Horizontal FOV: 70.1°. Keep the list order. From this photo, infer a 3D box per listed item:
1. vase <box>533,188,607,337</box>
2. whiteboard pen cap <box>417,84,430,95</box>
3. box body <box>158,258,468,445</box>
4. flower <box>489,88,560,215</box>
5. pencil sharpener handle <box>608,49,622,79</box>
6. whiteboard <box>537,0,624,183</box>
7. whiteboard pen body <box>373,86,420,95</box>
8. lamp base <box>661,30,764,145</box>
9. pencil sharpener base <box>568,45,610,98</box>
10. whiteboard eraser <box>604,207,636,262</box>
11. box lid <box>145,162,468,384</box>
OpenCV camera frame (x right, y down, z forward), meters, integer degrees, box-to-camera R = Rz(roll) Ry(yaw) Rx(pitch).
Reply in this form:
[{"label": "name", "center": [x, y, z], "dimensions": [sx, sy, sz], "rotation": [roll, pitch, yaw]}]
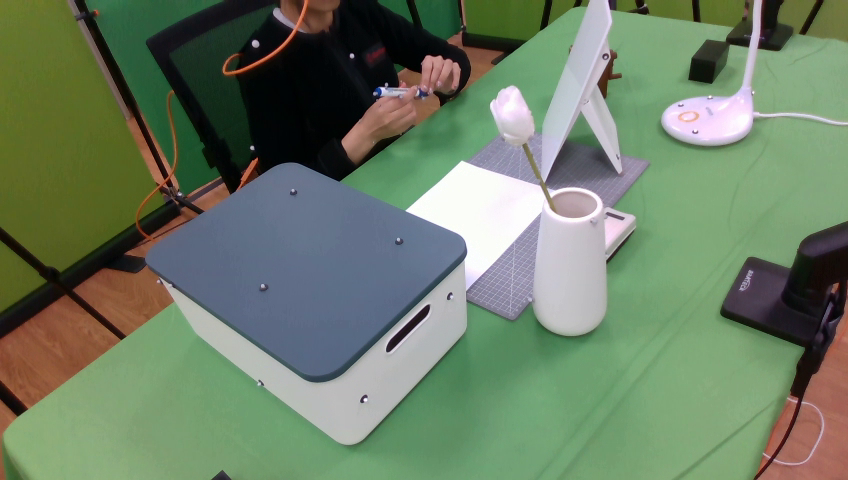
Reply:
[{"label": "vase", "center": [0.187, 0.033, 0.771], "dimensions": [0.098, 0.201, 0.097], "rotation": [-6, 41, 6]}, {"label": "whiteboard pen cap", "center": [-0.005, -0.295, 1.190], "dimensions": [0.033, 0.018, 0.018], "rotation": [-24, 42, -26]}, {"label": "box body", "center": [-0.147, 0.072, 0.816], "dimensions": [0.361, 0.161, 0.255], "rotation": [24, 50, 33]}, {"label": "flower", "center": [0.158, -0.027, 0.720], "dimensions": [0.038, 0.364, 0.044], "rotation": [-14, 44, 23]}, {"label": "pencil sharpener handle", "center": [0.394, -0.368, 1.253], "dimensions": [0.030, 0.068, 0.036], "rotation": [-9, 32, 1]}, {"label": "whiteboard", "center": [0.316, -0.256, 1.047], "dimensions": [0.144, 0.306, 0.216], "rotation": [15, 42, -1]}, {"label": "whiteboard pen body", "center": [-0.043, -0.283, 1.147], "dimensions": [0.017, 0.017, 0.142], "rotation": [25, 26, 34]}, {"label": "lamp base", "center": [0.535, -0.287, 1.096], "dimensions": [0.179, 0.181, 0.159], "rotation": [-10, 40, -4]}, {"label": "pencil sharpener base", "center": [0.345, -0.352, 1.263], "dimensions": [0.077, 0.107, 0.061], "rotation": [-9, 40, 1]}, {"label": "whiteboard eraser", "center": [0.272, -0.003, 0.919], "dimensions": [0.055, 0.042, 0.113], "rotation": [27, 51, 32]}, {"label": "box lid", "center": [-0.157, 0.014, 0.769], "dimensions": [0.368, 0.015, 0.264], "rotation": [25, 51, 33]}]
